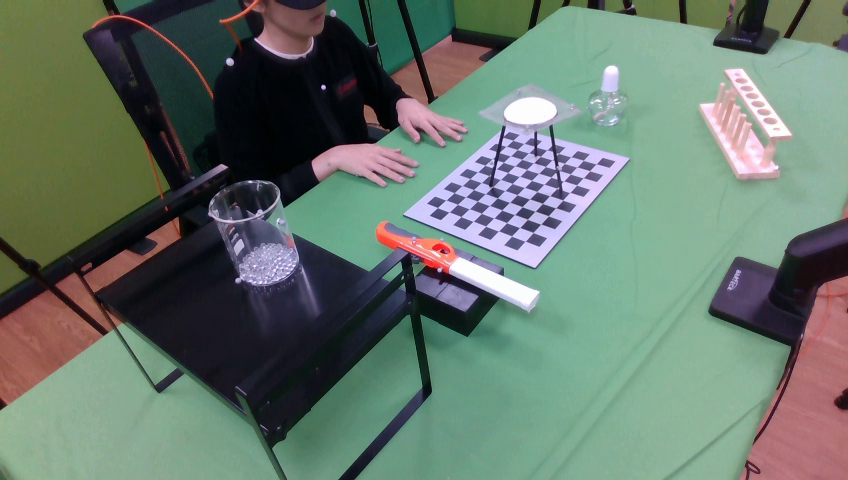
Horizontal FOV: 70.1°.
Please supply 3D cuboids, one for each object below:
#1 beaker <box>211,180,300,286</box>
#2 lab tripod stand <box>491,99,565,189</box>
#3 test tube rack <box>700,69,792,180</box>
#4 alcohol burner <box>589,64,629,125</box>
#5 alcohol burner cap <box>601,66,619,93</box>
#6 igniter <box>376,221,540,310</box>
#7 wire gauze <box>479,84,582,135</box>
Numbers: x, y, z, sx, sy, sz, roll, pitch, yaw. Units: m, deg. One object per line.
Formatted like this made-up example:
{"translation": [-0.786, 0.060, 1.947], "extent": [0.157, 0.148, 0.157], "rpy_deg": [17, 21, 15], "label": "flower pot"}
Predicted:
{"translation": [-0.183, -0.007, 0.674], "extent": [0.074, 0.101, 0.083], "rpy_deg": [-1, 40, 7], "label": "beaker"}
{"translation": [0.184, -0.163, 1.046], "extent": [0.148, 0.132, 0.147], "rpy_deg": [-5, 42, 5], "label": "lab tripod stand"}
{"translation": [0.571, -0.215, 1.089], "extent": [0.066, 0.085, 0.241], "rpy_deg": [-3, 41, 7], "label": "test tube rack"}
{"translation": [0.364, -0.287, 1.184], "extent": [0.078, 0.119, 0.077], "rpy_deg": [-4, 39, 4], "label": "alcohol burner"}
{"translation": [0.361, -0.312, 1.166], "extent": [0.034, 0.048, 0.033], "rpy_deg": [-3, 38, 3], "label": "alcohol burner cap"}
{"translation": [0.037, 0.031, 0.858], "extent": [0.274, 0.025, 0.057], "rpy_deg": [24, 46, 29], "label": "igniter"}
{"translation": [0.176, -0.216, 1.006], "extent": [0.125, 0.011, 0.120], "rpy_deg": [-29, 46, -22], "label": "wire gauze"}
